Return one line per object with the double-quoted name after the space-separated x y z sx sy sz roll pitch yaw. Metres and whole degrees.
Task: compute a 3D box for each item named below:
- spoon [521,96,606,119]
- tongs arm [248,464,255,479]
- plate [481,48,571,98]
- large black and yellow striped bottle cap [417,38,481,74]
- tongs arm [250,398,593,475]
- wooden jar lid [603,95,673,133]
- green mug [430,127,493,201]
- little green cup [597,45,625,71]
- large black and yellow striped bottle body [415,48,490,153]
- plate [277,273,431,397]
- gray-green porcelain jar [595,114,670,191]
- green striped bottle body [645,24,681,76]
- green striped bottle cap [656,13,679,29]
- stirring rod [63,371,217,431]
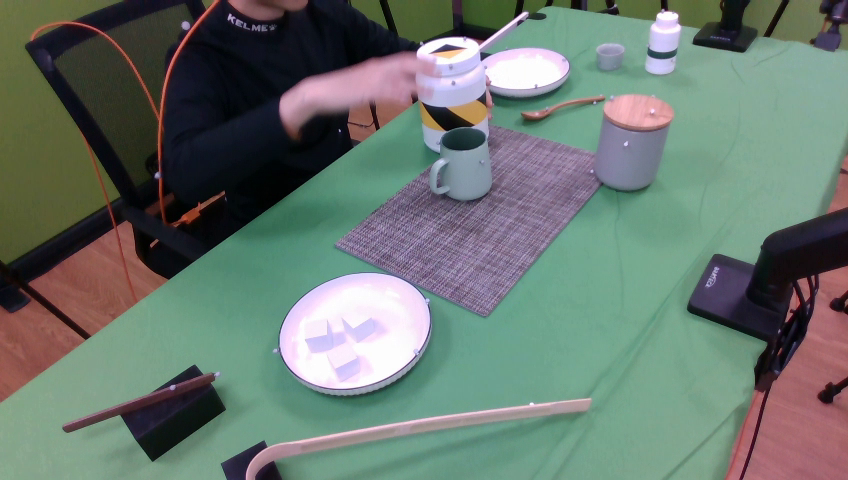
0.291 -0.277 1.249 0.194 0.022 0.041 -17 25 -11 "spoon"
0.012 0.262 0.615 0.385 0.026 0.050 2 42 -2 "tongs arm"
0.223 -0.371 1.357 0.209 0.038 0.208 -4 41 4 "plate"
0.045 -0.335 1.096 0.115 0.019 0.114 -5 41 5 "large black and yellow striped bottle cap"
0.008 0.212 0.675 0.389 0.028 0.028 -5 46 -11 "tongs arm"
0.343 -0.200 0.974 0.108 0.021 0.108 -1 39 2 "wooden jar lid"
0.059 -0.121 1.033 0.126 0.105 0.091 -35 48 -28 "green mug"
0.423 -0.413 1.376 0.061 0.039 0.061 -3 41 3 "little green cup"
0.055 -0.271 1.148 0.131 0.185 0.130 -6 39 5 "large black and yellow striped bottle body"
-0.091 0.129 0.820 0.207 0.039 0.206 -4 40 4 "plate"
0.346 -0.155 1.017 0.106 0.127 0.105 -2 44 2 "gray-green porcelain jar"
0.520 -0.424 1.312 0.063 0.120 0.063 -4 41 4 "green striped bottle body"
0.515 -0.463 1.278 0.044 0.020 0.044 -6 42 6 "green striped bottle cap"
-0.337 0.192 0.723 0.177 0.014 0.005 -18 43 -12 "stirring rod"
